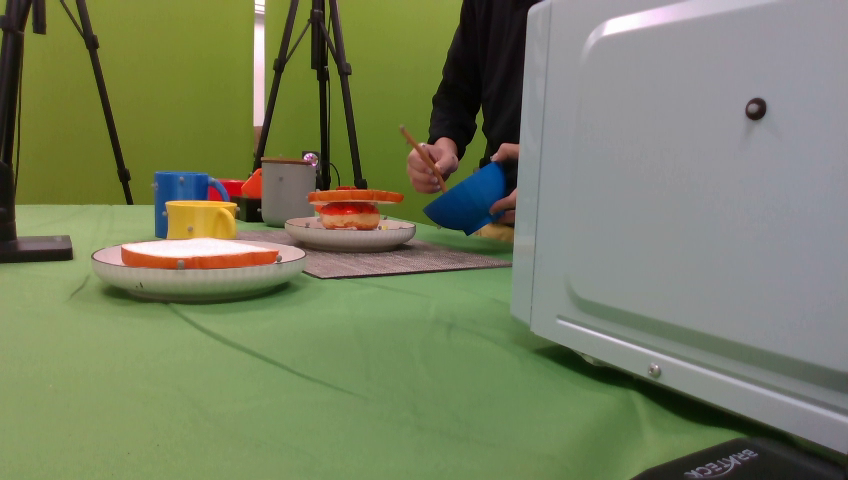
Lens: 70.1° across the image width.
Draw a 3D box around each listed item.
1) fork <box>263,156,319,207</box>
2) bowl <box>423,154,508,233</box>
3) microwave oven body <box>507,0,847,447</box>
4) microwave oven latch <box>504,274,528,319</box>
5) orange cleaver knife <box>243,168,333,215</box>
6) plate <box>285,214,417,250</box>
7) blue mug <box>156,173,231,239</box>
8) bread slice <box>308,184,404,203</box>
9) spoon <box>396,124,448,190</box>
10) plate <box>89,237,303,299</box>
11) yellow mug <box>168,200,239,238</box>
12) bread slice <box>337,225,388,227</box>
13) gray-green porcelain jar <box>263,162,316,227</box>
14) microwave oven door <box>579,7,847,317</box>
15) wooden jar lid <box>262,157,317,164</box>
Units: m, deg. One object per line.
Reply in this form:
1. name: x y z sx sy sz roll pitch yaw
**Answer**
1. fork: -0.331 -0.144 1.506 0.207 0.018 0.028 -42 -20 22
2. bowl: 0.081 -0.064 0.971 0.151 0.077 0.151 -34 0 0
3. microwave oven body: 0.331 -0.042 0.425 0.444 0.260 0.324 -2 8 -31
4. microwave oven latch: 0.100 0.041 0.471 0.079 0.029 0.030 -1 7 -28
5. orange cleaver knife: -0.300 -0.089 1.351 0.212 0.077 0.012 28 -9 -34
6. plate: -0.116 -0.014 0.964 0.209 0.038 0.209 2 7 0
7. blue mug: -0.381 -0.057 1.004 0.117 0.106 0.082 0 8 -12
8. bread slice: -0.114 -0.072 0.954 0.134 0.018 0.107 -3 -1 21
9. spoon: 0.018 -0.110 0.964 0.021 0.194 0.041 -36 21 3
10. plate: -0.233 0.029 0.637 0.208 0.039 0.207 2 7 0
11. yellow mug: -0.320 -0.023 0.904 0.130 0.064 0.100 9 11 36
12. bread slice: -0.103 -0.010 0.962 0.131 0.019 0.105 2 9 25
13. gray-green porcelain jar: -0.271 -0.092 1.217 0.106 0.126 0.106 2 7 0
14. microwave oven door: 0.295 -0.067 0.570 0.358 0.243 0.039 -3 9 -31
15. wooden jar lid: -0.269 -0.154 1.208 0.108 0.020 0.108 3 4 0
